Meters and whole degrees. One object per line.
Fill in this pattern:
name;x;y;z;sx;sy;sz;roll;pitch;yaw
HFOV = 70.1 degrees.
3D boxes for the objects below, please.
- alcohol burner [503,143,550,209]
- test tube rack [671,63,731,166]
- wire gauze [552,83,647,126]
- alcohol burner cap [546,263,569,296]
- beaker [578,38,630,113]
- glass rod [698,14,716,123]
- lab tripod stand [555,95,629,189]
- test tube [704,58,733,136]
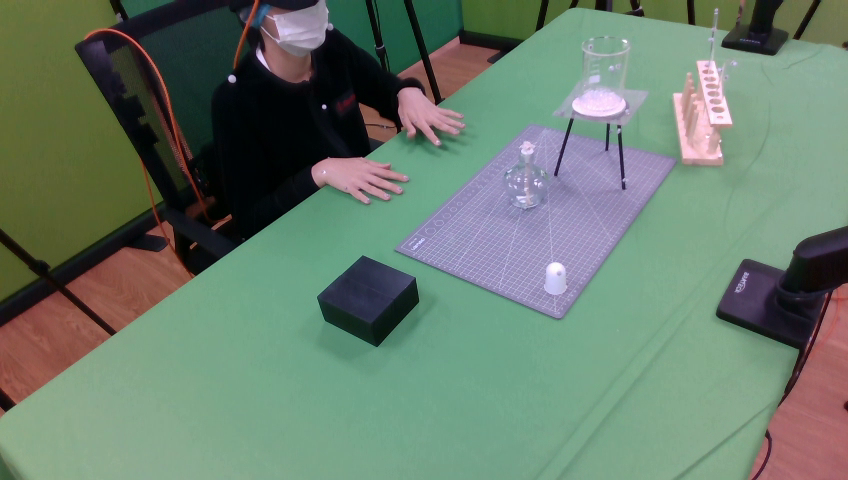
alcohol burner;0.171;-0.111;1.006;0.078;0.119;0.077;-3;41;3
test tube rack;0.513;-0.241;1.132;0.066;0.085;0.242;4;41;14
wire gauze;0.293;-0.224;1.004;0.120;0.011;0.125;19;43;26
alcohol burner cap;0.191;0.053;0.862;0.034;0.048;0.033;-5;40;4
beaker;0.290;-0.265;0.976;0.084;0.101;0.073;-18;41;-14
glass rod;0.532;-0.320;1.137;0.008;0.200;0.008;3;12;0
lab tripod stand;0.300;-0.174;1.045;0.148;0.132;0.147;-5;38;5
test tube;0.517;-0.247;1.062;0.017;0.151;0.017;-3;43;4
